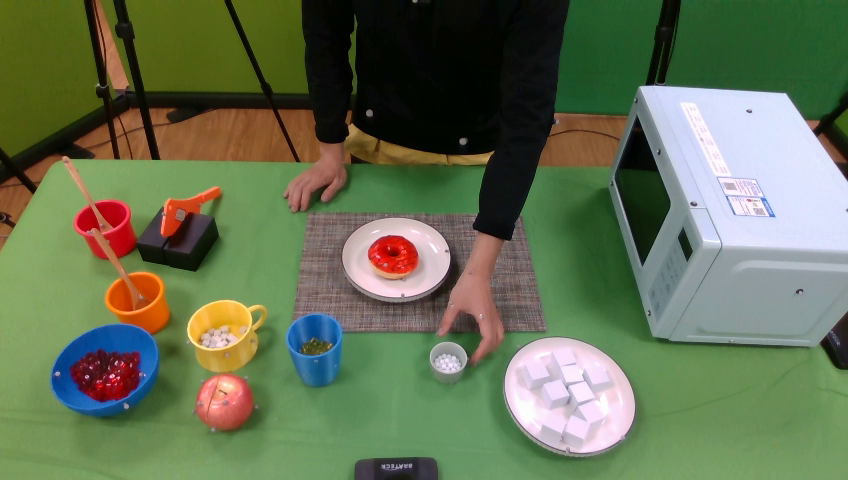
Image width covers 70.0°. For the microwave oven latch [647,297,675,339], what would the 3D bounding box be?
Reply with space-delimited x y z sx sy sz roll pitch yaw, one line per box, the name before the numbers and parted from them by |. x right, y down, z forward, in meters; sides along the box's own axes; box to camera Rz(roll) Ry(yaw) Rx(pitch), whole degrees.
microwave oven latch | 0.413 0.134 1.061 0.030 0.029 0.078 5 45 2

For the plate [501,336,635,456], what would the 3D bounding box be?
plate | 0.225 0.248 0.963 0.208 0.039 0.206 2 46 -2

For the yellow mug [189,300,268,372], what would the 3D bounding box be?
yellow mug | -0.315 0.149 1.001 0.131 0.064 0.099 -33 55 -31

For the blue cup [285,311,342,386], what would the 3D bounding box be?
blue cup | -0.170 0.180 0.958 0.093 0.101 0.092 2 44 -1

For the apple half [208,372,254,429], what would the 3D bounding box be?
apple half | -0.282 0.244 0.908 0.053 0.075 0.080 7 43 -1

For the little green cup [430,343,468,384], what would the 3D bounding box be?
little green cup | 0.039 0.203 0.993 0.061 0.039 0.061 2 47 -2

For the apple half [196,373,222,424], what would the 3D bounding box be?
apple half | -0.322 0.239 0.906 0.033 0.081 0.081 7 46 0

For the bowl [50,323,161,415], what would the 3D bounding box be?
bowl | -0.472 0.209 0.924 0.151 0.077 0.150 3 45 -2

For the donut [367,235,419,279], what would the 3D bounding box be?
donut | -0.057 0.032 1.132 0.099 0.048 0.098 3 45 -3

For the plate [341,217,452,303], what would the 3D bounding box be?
plate | -0.052 0.039 1.140 0.209 0.038 0.208 2 46 -2

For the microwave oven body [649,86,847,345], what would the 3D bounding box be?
microwave oven body | 0.568 -0.053 1.118 0.326 0.261 0.439 2 45 -1

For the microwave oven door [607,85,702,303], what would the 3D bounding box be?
microwave oven door | 0.423 -0.094 1.140 0.039 0.245 0.353 2 46 -1

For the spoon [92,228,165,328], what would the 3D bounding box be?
spoon | -0.496 0.063 1.014 0.041 0.194 0.021 -33 13 -30

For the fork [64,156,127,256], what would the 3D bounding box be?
fork | -0.614 -0.064 1.130 0.028 0.018 0.207 -30 97 -18

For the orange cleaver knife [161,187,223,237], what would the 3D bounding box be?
orange cleaver knife | -0.448 -0.058 1.180 0.012 0.077 0.211 13 17 6
